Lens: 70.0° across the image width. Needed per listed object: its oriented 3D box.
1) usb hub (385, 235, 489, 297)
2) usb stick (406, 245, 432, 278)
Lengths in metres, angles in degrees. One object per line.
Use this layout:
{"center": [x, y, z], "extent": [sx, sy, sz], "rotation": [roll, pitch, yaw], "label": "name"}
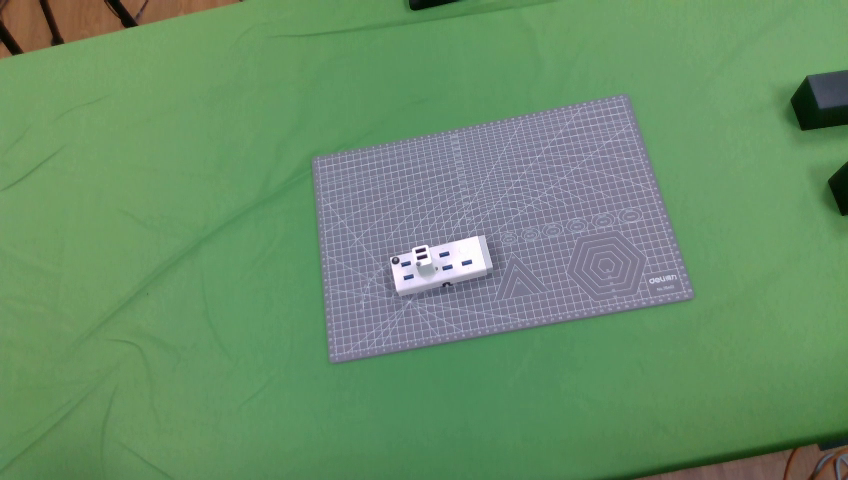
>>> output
{"center": [0.016, 0.032, 0.766], "extent": [0.125, 0.025, 0.049], "rotation": [-14, 67, 2], "label": "usb hub"}
{"center": [-0.005, 0.029, 0.738], "extent": [0.021, 0.059, 0.027], "rotation": [-17, 65, 2], "label": "usb stick"}
